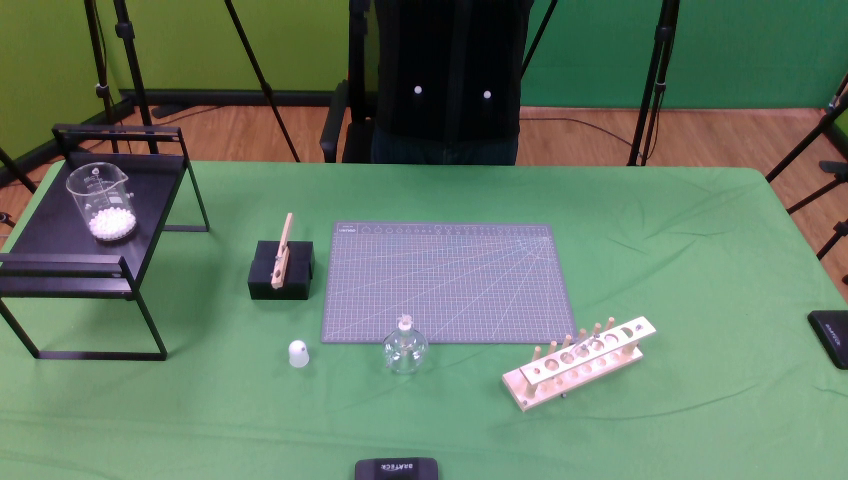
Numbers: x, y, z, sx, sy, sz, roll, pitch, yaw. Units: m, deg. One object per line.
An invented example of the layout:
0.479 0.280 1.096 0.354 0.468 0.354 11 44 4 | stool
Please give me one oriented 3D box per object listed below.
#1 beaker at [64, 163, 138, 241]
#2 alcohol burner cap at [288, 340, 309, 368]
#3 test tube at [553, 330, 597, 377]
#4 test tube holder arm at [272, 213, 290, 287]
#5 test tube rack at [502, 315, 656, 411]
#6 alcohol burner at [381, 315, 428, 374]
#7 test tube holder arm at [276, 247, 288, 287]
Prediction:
-0.477 -0.055 0.910 0.084 0.101 0.073 -9 48 -13 | beaker
-0.207 0.182 0.991 0.034 0.048 0.033 2 46 -2 | alcohol burner cap
0.226 0.176 0.924 0.017 0.151 0.017 6 55 -9 | test tube
-0.259 0.015 1.099 0.013 0.015 0.177 -1 45 -3 | test tube holder arm
0.253 0.186 0.989 0.242 0.085 0.066 -18 50 -20 | test tube rack
-0.031 0.162 0.973 0.078 0.120 0.077 2 44 -1 | alcohol burner
-0.251 0.046 1.068 0.010 0.015 0.087 -1 45 -3 | test tube holder arm
